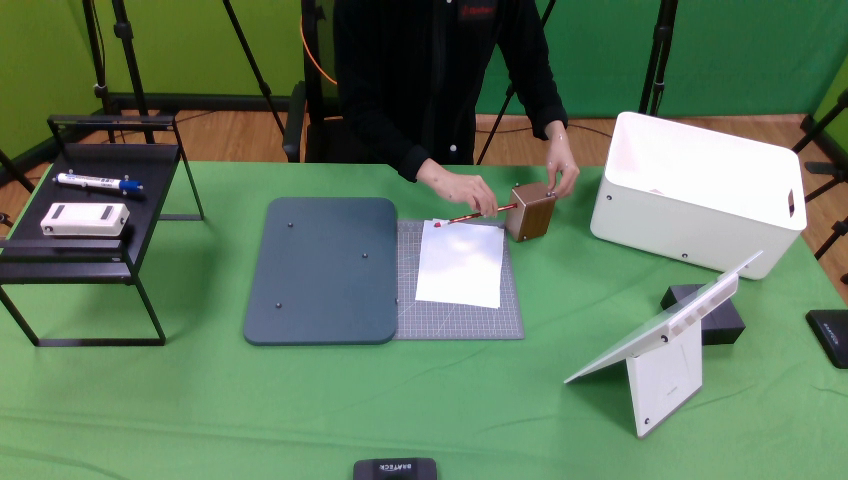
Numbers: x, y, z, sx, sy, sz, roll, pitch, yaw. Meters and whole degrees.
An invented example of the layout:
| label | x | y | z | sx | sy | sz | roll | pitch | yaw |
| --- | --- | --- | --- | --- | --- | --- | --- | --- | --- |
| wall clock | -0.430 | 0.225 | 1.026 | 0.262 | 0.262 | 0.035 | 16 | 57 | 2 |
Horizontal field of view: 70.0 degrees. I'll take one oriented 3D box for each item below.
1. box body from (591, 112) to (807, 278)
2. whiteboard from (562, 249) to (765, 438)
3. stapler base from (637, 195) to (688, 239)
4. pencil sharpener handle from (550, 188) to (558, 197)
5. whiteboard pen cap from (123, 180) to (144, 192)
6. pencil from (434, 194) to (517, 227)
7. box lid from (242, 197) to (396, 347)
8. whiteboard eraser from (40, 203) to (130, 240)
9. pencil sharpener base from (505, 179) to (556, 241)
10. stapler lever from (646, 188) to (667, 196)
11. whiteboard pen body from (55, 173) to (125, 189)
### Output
| label | x | y | z | sx | sy | sz | roll | pitch | yaw |
| --- | --- | --- | --- | --- | --- | --- | --- | --- | --- |
| box body | 0.540 | -0.092 | 1.229 | 0.363 | 0.161 | 0.253 | 16 | 47 | 11 |
| whiteboard | 0.386 | 0.175 | 0.905 | 0.217 | 0.306 | 0.143 | -26 | 72 | -26 |
| stapler base | 0.507 | -0.055 | 1.280 | 0.041 | 0.024 | 0.129 | -14 | 47 | -19 |
| pencil sharpener handle | 0.256 | -0.092 | 1.222 | 0.031 | 0.036 | 0.067 | -15 | 8 | -18 |
| whiteboard pen cap | -0.479 | -0.089 | 0.993 | 0.033 | 0.018 | 0.018 | 7 | 46 | 14 |
| pencil | 0.108 | -0.059 | 1.154 | 0.194 | 0.012 | 0.012 | -20 | 51 | -13 |
| box lid | -0.186 | 0.046 | 1.147 | 0.263 | 0.015 | 0.369 | 0 | 46 | -3 |
| whiteboard eraser | -0.513 | -0.028 | 0.922 | 0.113 | 0.042 | 0.055 | 1 | 48 | -3 |
| pencil sharpener base | 0.213 | -0.059 | 1.211 | 0.077 | 0.107 | 0.061 | -15 | 49 | -18 |
| stapler lever | 0.507 | -0.075 | 1.262 | 0.027 | 0.040 | 0.117 | -14 | 46 | -19 |
| whiteboard pen body | -0.539 | -0.095 | 0.998 | 0.141 | 0.017 | 0.017 | 6 | 46 | 6 |
